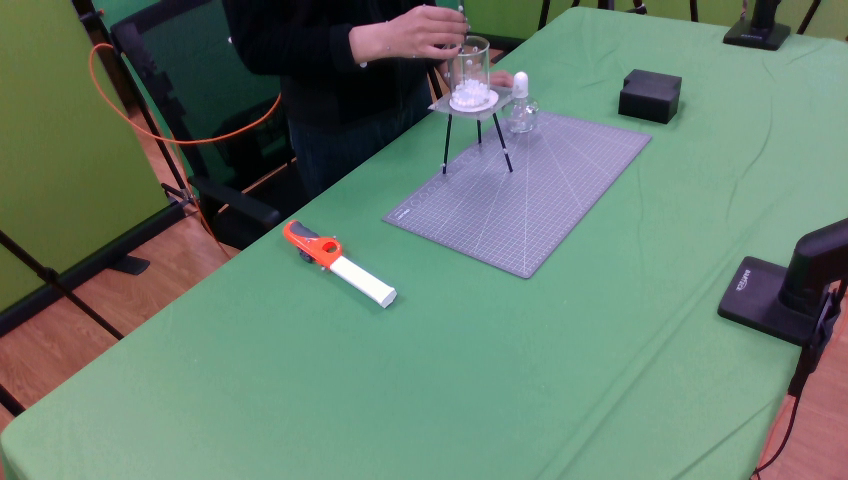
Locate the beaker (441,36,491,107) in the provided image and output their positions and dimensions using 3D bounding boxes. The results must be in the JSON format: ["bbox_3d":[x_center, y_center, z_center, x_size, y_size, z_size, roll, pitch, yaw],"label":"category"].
[{"bbox_3d":[0.074,-0.286,1.036,0.084,0.101,0.073,-1,41,8],"label":"beaker"}]

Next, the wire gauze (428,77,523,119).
[{"bbox_3d":[0.091,-0.249,1.063,0.120,0.011,0.125,24,48,30],"label":"wire gauze"}]

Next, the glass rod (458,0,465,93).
[{"bbox_3d":[0.062,-0.339,1.016,0.008,0.200,0.008,-3,39,3],"label":"glass rod"}]

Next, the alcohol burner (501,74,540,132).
[{"bbox_3d":[0.191,-0.275,1.194,0.078,0.119,0.077,-4,42,4],"label":"alcohol burner"}]

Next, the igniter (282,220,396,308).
[{"bbox_3d":[-0.146,0.032,0.966,0.274,0.025,0.057,30,64,37],"label":"igniter"}]

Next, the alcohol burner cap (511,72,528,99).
[{"bbox_3d":[0.185,-0.302,1.171,0.034,0.048,0.033,-2,42,2],"label":"alcohol burner cap"}]

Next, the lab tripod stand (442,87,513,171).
[{"bbox_3d":[0.097,-0.201,1.108,0.148,0.132,0.147,-4,40,4],"label":"lab tripod stand"}]
